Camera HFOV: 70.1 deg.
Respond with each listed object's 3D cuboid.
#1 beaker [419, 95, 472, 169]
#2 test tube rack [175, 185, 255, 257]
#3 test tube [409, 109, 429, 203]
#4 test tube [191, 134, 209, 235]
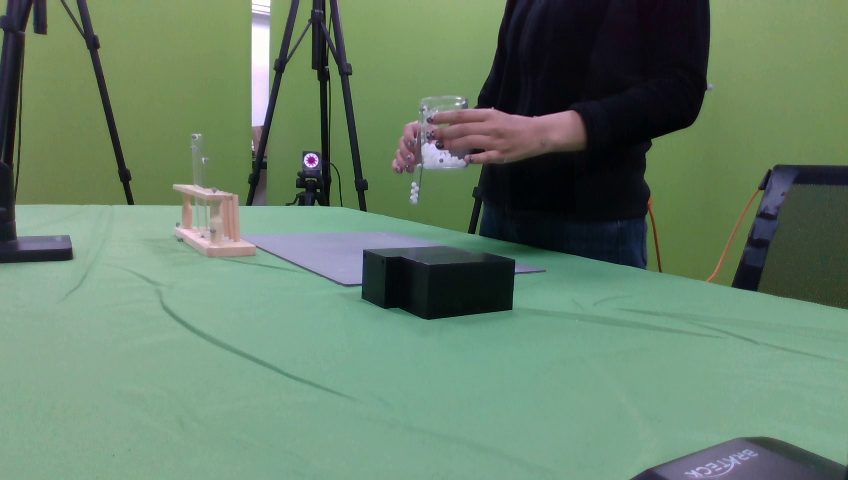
[{"bbox_3d":[0.029,-0.154,0.879,0.074,0.100,0.083,-3,4,-28],"label":"beaker"},{"bbox_3d":[-0.324,-0.035,0.922,0.067,0.085,0.241,-2,9,-31],"label":"test tube rack"},{"bbox_3d":[-0.009,-0.129,0.944,0.017,0.150,0.017,6,22,-2],"label":"test tube"},{"bbox_3d":[-0.332,-0.082,0.897,0.017,0.150,0.017,-2,6,0],"label":"test tube"}]
